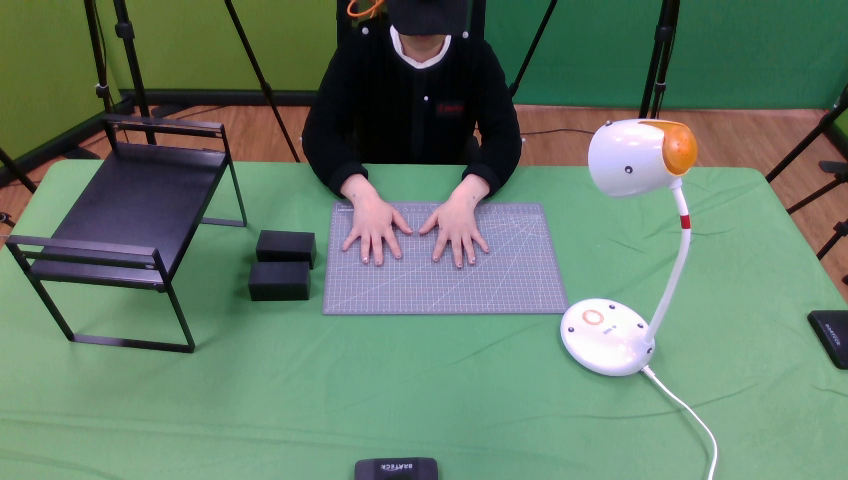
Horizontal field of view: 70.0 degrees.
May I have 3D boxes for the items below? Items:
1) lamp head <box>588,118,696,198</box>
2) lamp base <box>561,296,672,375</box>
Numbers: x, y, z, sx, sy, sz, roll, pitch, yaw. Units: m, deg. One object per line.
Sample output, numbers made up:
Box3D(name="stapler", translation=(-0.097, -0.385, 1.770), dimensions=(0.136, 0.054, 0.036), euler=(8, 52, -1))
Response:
Box3D(name="lamp head", translation=(0.304, -0.113, 0.823), dimensions=(0.112, 0.112, 0.122), euler=(-26, 16, -25))
Box3D(name="lamp base", translation=(0.332, 0.119, 0.996), dimensions=(0.160, 0.181, 0.178), euler=(-34, 59, -31))
